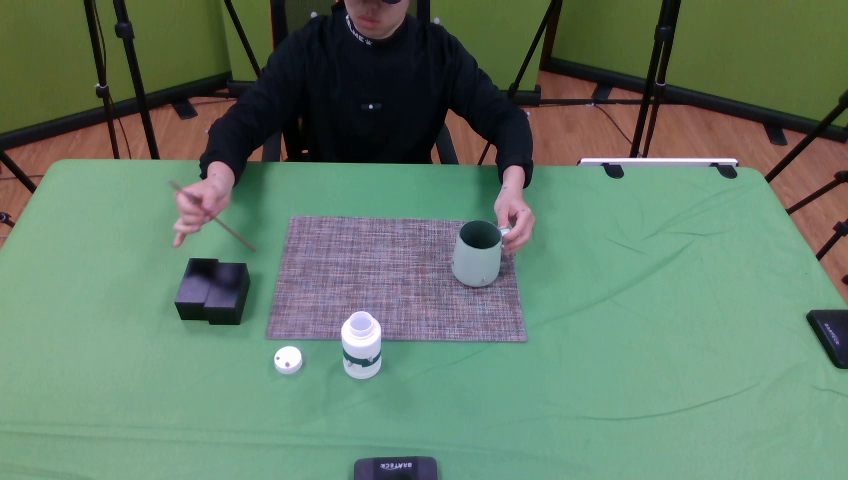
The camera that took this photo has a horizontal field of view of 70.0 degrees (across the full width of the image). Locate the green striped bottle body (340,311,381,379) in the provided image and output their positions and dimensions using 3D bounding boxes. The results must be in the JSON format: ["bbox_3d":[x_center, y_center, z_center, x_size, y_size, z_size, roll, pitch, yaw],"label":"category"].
[{"bbox_3d":[-0.101,0.164,0.964,0.063,0.120,0.063,2,46,-2],"label":"green striped bottle body"}]

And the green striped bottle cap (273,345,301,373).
[{"bbox_3d":[-0.225,0.195,0.997,0.044,0.020,0.044,2,50,-3],"label":"green striped bottle cap"}]

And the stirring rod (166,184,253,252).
[{"bbox_3d":[-0.355,-0.034,1.010,0.006,0.177,0.014,-52,29,-10],"label":"stirring rod"}]

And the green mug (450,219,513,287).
[{"bbox_3d":[0.111,0.019,1.125,0.125,0.105,0.092,-22,52,-23],"label":"green mug"}]
